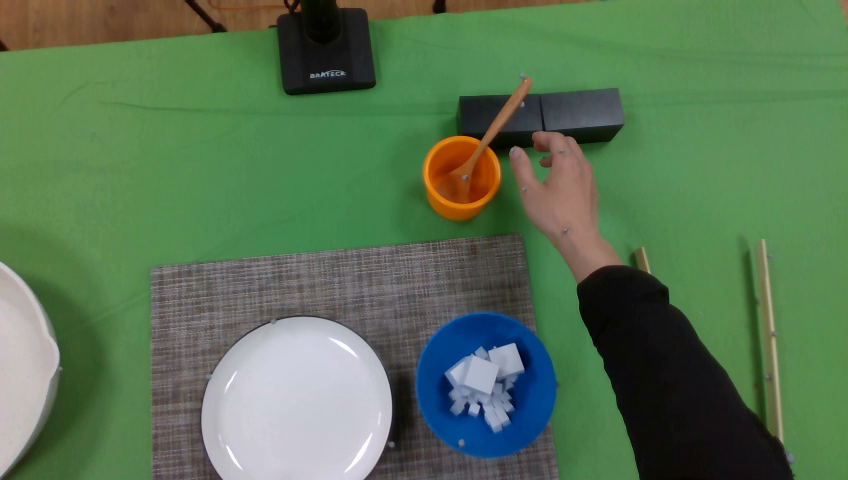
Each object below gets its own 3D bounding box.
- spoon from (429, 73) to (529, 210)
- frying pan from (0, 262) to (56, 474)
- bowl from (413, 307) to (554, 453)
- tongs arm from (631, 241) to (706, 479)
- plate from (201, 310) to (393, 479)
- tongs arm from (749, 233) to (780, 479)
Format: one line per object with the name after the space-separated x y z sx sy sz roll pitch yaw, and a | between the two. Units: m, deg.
0.064 -0.111 0.707 0.041 0.194 0.021 43 33 11 | spoon
-0.521 0.243 0.609 0.307 0.103 0.484 -8 68 -4 | frying pan
0.061 0.155 0.672 0.151 0.077 0.150 1 76 -3 | bowl
0.304 0.186 0.710 0.028 0.028 0.385 -11 77 -7 | tongs arm
-0.138 0.184 0.675 0.208 0.039 0.206 1 76 -3 | plate
0.386 0.181 0.711 0.051 0.026 0.383 1 77 -1 | tongs arm
